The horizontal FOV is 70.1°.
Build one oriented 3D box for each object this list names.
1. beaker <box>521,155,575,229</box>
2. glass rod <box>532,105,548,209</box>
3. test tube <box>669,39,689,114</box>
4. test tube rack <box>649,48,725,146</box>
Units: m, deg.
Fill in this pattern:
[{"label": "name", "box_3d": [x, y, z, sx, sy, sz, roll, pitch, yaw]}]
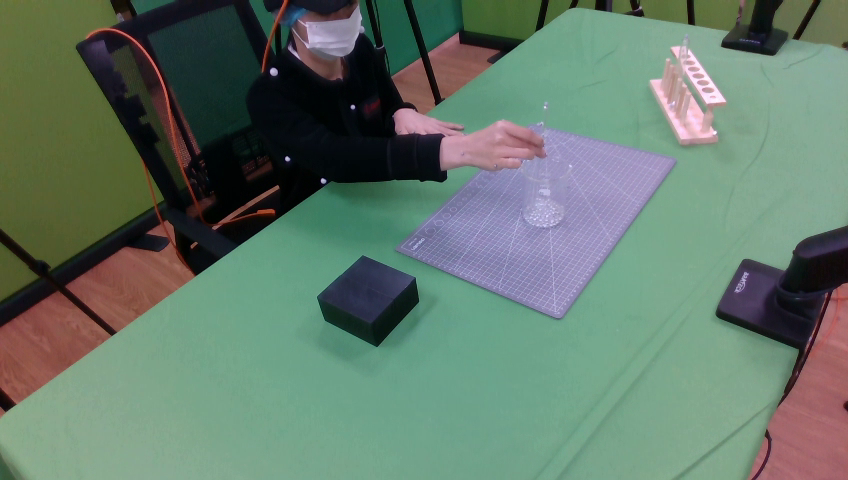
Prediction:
[{"label": "beaker", "box_3d": [0.197, -0.074, 0.969, 0.084, 0.101, 0.073, -6, 40, 2]}, {"label": "glass rod", "box_3d": [0.179, -0.122, 0.937, 0.008, 0.200, 0.008, -2, 45, 2]}, {"label": "test tube", "box_3d": [0.482, -0.308, 1.146, 0.017, 0.151, 0.017, -5, 42, 5]}, {"label": "test tube rack", "box_3d": [0.508, -0.285, 1.186, 0.067, 0.085, 0.241, -4, 40, 6]}]
